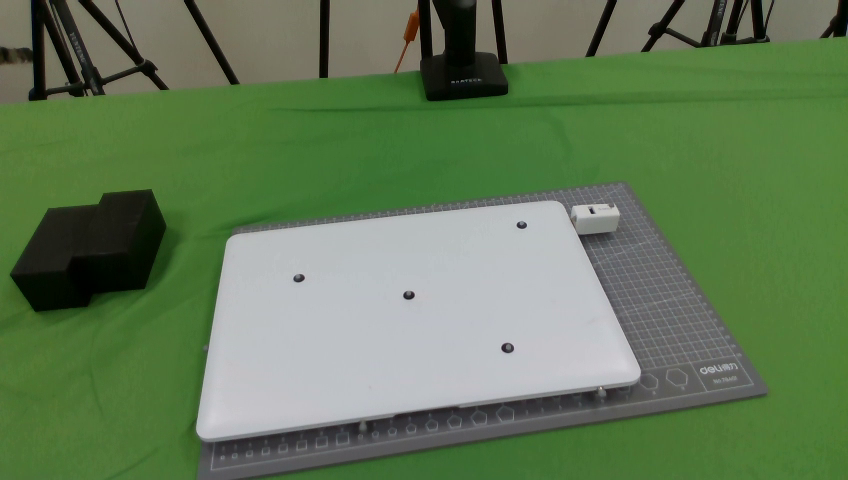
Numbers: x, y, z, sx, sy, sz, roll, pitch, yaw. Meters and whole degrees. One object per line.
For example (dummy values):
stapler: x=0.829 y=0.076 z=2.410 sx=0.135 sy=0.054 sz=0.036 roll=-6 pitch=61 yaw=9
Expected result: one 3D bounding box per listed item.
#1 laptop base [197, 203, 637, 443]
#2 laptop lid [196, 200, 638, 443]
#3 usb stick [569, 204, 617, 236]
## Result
laptop base: x=-0.014 y=0.062 z=0.560 sx=0.355 sy=0.023 sz=0.233 roll=-6 pitch=45 yaw=-5
laptop lid: x=-0.014 y=0.055 z=0.551 sx=0.357 sy=0.013 sz=0.239 roll=-5 pitch=44 yaw=-3
usb stick: x=0.167 y=-0.020 z=0.627 sx=0.059 sy=0.027 sz=0.021 roll=-6 pitch=43 yaw=-2
